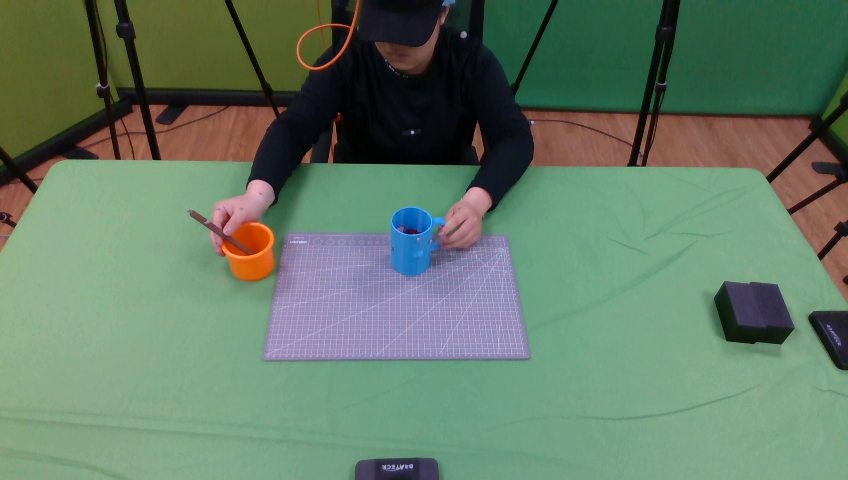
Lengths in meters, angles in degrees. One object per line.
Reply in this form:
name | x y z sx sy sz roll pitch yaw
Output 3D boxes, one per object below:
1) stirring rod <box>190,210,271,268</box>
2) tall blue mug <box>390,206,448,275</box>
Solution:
stirring rod | -0.343 0.000 1.084 0.006 0.177 0.014 -34 36 22
tall blue mug | -0.016 -0.006 1.140 0.077 0.108 0.107 30 51 24
